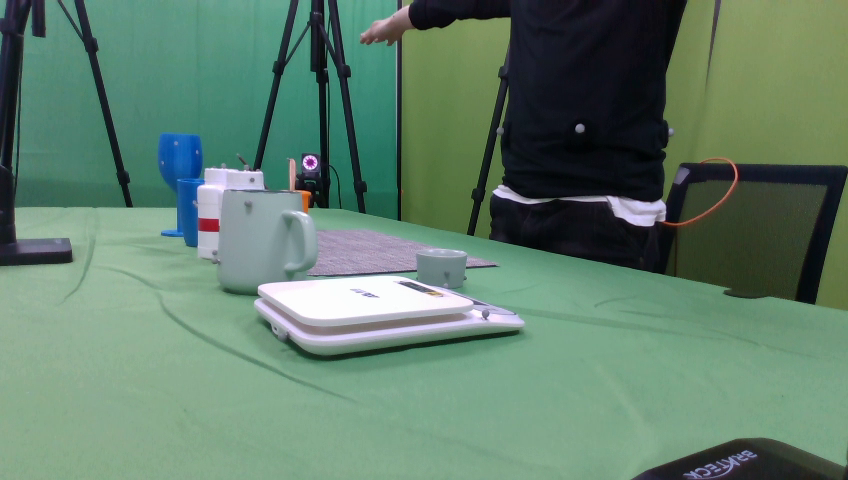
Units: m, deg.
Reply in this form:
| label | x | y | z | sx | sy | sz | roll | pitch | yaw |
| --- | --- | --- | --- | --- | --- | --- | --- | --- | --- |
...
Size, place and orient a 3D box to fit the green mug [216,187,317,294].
| label | x | y | z | sx | sy | sz | roll | pitch | yaw |
| --- | --- | --- | --- | --- | --- | --- | --- | --- | --- |
| green mug | -0.157 | 0.000 | 0.629 | 0.124 | 0.105 | 0.093 | 7 | 9 | 37 |

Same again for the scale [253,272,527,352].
| label | x | y | z | sx | sy | sz | roll | pitch | yaw |
| --- | --- | --- | --- | --- | --- | --- | --- | --- | --- |
| scale | -0.029 | 0.054 | 0.512 | 0.202 | 0.031 | 0.148 | -2 | 8 | -31 |

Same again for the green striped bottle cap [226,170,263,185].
| label | x | y | z | sx | sy | sz | roll | pitch | yaw |
| --- | --- | --- | --- | --- | --- | --- | --- | --- | --- |
| green striped bottle cap | -0.222 | -0.077 | 0.748 | 0.044 | 0.020 | 0.044 | 1 | 7 | 0 |

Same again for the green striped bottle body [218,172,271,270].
| label | x | y | z | sx | sy | sz | roll | pitch | yaw |
| --- | --- | --- | --- | --- | --- | --- | --- | --- | --- |
| green striped bottle body | -0.223 | -0.025 | 0.755 | 0.063 | 0.119 | 0.063 | 1 | 7 | 0 |

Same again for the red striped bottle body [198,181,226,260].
| label | x | y | z | sx | sy | sz | roll | pitch | yaw |
| --- | --- | --- | --- | --- | --- | --- | --- | --- | --- |
| red striped bottle body | -0.275 | -0.035 | 0.827 | 0.063 | 0.119 | 0.063 | 1 | 6 | 0 |

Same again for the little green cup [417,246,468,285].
| label | x | y | z | sx | sy | sz | roll | pitch | yaw |
| --- | --- | --- | --- | --- | --- | --- | --- | --- | --- |
| little green cup | 0.021 | 0.029 | 0.702 | 0.061 | 0.038 | 0.061 | 1 | 6 | 0 |

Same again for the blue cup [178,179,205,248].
| label | x | y | z | sx | sy | sz | roll | pitch | yaw |
| --- | --- | --- | --- | --- | --- | --- | --- | --- | --- |
| blue cup | -0.335 | -0.041 | 0.936 | 0.093 | 0.100 | 0.092 | 3 | 9 | 0 |

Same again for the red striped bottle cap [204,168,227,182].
| label | x | y | z | sx | sy | sz | roll | pitch | yaw |
| --- | --- | --- | --- | --- | --- | --- | --- | --- | --- |
| red striped bottle cap | -0.275 | -0.088 | 0.821 | 0.044 | 0.017 | 0.044 | 3 | 6 | 0 |

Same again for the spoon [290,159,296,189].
| label | x | y | z | sx | sy | sz | roll | pitch | yaw |
| --- | --- | --- | --- | --- | --- | --- | --- | --- | --- |
| spoon | -0.273 | -0.102 | 1.252 | 0.042 | 0.193 | 0.021 | 7 | -38 | -17 |

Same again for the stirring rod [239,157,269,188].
| label | x | y | z | sx | sy | sz | roll | pitch | yaw |
| --- | --- | --- | --- | --- | --- | --- | --- | --- | --- |
| stirring rod | -0.309 | -0.098 | 1.209 | 0.006 | 0.177 | 0.014 | -39 | 29 | -3 |

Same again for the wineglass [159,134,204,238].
| label | x | y | z | sx | sy | sz | roll | pitch | yaw |
| --- | --- | --- | --- | --- | --- | --- | --- | --- | --- |
| wineglass | -0.415 | -0.093 | 1.040 | 0.074 | 0.172 | 0.073 | 2 | 7 | 0 |
